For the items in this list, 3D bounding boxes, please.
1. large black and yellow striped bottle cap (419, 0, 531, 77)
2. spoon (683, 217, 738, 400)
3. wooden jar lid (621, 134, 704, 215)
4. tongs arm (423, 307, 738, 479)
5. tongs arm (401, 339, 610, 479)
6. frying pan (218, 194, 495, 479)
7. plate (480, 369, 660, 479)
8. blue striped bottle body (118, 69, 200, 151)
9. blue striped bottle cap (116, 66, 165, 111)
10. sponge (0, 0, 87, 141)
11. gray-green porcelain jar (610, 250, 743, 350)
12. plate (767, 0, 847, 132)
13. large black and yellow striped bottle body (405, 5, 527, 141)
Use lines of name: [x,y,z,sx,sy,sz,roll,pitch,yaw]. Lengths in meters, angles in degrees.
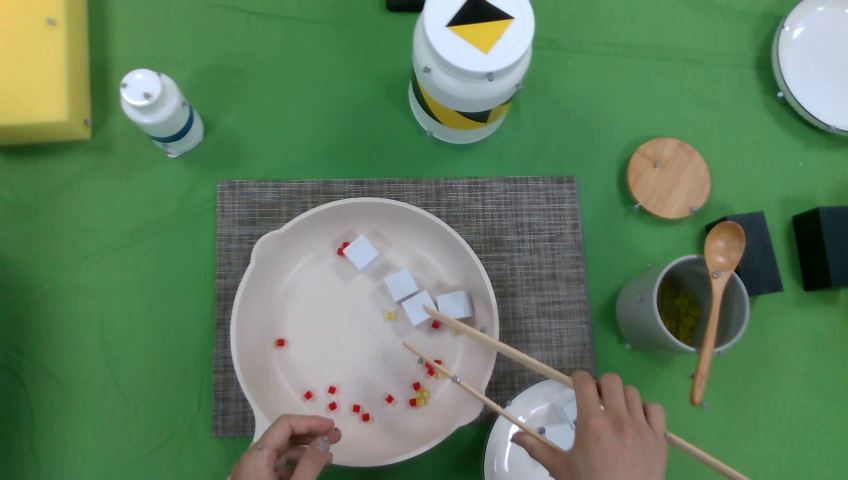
large black and yellow striped bottle cap: [0.053,-0.224,0.621,0.115,0.019,0.114,1,81,-4]
spoon: [0.292,0.071,0.629,0.042,0.021,0.193,14,82,-5]
wooden jar lid: [0.307,-0.083,0.785,0.108,0.021,0.108,1,81,-4]
tongs arm: [0.153,0.158,0.564,0.384,0.028,0.028,28,67,26]
tongs arm: [0.138,0.179,0.556,0.381,0.027,0.050,31,72,27]
frying pan: [-0.131,0.171,0.655,0.306,0.103,0.487,39,71,4]
plate: [0.165,0.253,0.700,0.208,0.039,0.207,1,81,-5]
blue striped bottle body: [-0.305,-0.151,0.695,0.063,0.121,0.063,1,79,-4]
blue striped bottle cap: [-0.302,-0.162,0.645,0.044,0.020,0.044,1,81,-5]
sponge: [-0.481,-0.227,0.724,0.118,0.061,0.206,-7,81,-6]
gray-green porcelain jar: [0.282,0.074,0.699,0.106,0.127,0.105,1,79,-4]
plate: [0.564,-0.243,0.825,0.209,0.038,0.208,1,79,-4]
large black and yellow striped bottle body: [0.045,-0.207,0.703,0.131,0.184,0.130,1,79,-4]
